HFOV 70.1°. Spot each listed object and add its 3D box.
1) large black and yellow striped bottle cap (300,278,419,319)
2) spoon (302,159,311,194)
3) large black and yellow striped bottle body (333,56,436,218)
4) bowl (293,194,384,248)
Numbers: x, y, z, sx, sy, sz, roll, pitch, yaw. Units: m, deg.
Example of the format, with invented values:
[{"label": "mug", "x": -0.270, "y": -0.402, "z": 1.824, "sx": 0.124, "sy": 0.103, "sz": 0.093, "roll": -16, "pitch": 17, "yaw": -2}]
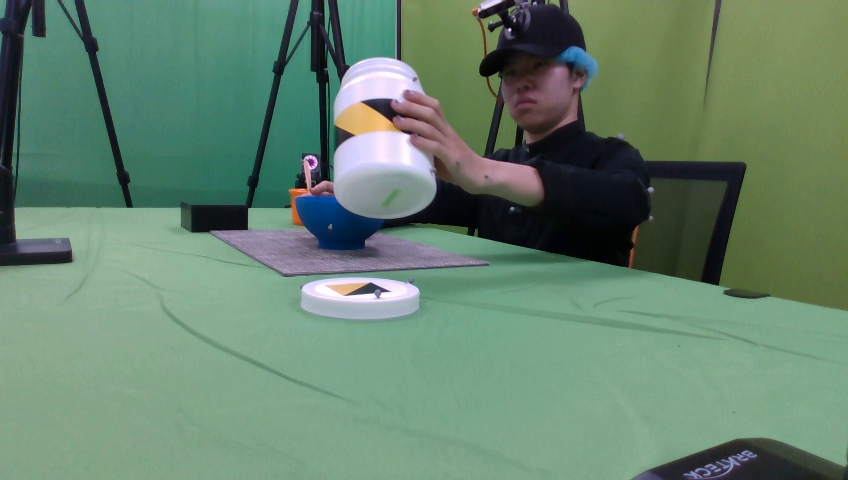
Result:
[{"label": "large black and yellow striped bottle cap", "x": -0.062, "y": 0.055, "z": 0.588, "sx": 0.115, "sy": 0.019, "sz": 0.115, "roll": 1, "pitch": 6, "yaw": 0}, {"label": "spoon", "x": -0.257, "y": -0.113, "z": 1.341, "sx": 0.042, "sy": 0.193, "sz": 0.021, "roll": 3, "pitch": -38, "yaw": -19}, {"label": "large black and yellow striped bottle body", "x": -0.054, "y": -0.136, "z": 0.801, "sx": 0.131, "sy": 0.183, "sz": 0.131, "roll": -3, "pitch": -25, "yaw": -1}, {"label": "bowl", "x": -0.132, "y": -0.030, "z": 0.962, "sx": 0.151, "sy": 0.077, "sz": 0.151, "roll": 2, "pitch": 7, "yaw": 0}]
